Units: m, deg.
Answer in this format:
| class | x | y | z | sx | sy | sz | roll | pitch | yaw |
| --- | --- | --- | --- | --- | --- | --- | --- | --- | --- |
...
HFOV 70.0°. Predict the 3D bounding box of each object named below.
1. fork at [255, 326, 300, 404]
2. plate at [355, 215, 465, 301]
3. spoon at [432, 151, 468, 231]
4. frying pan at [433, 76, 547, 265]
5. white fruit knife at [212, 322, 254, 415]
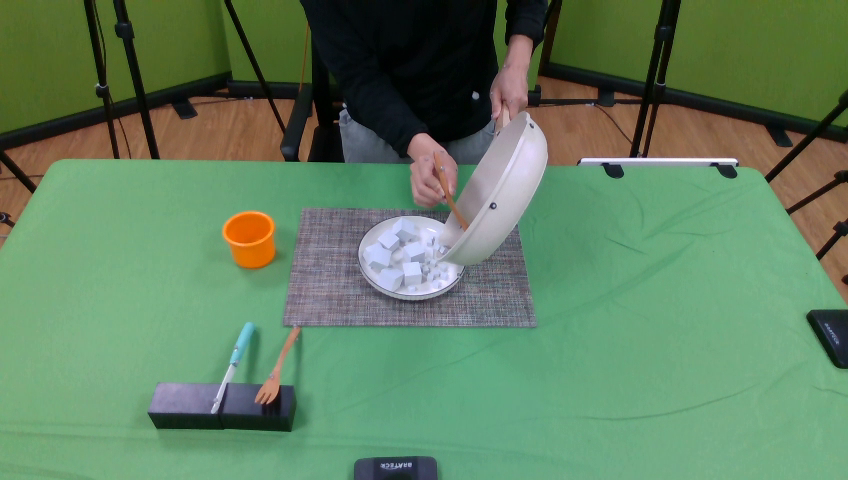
| class | x | y | z | sx | sy | sz | roll | pitch | yaw |
| --- | --- | --- | --- | --- | --- | --- | --- | --- | --- |
| fork | -0.226 | 0.192 | 0.955 | 0.028 | 0.019 | 0.206 | -3 | 27 | 5 |
| plate | -0.025 | 0.038 | 1.143 | 0.208 | 0.039 | 0.206 | 3 | 46 | -2 |
| spoon | 0.048 | -0.060 | 1.015 | 0.021 | 0.194 | 0.041 | -18 | 24 | 19 |
| frying pan | 0.132 | -0.156 | 1.097 | 0.103 | 0.307 | 0.485 | 24 | 48 | -14 |
| white fruit knife | -0.297 | 0.193 | 0.947 | 0.016 | 0.027 | 0.206 | 1 | 31 | 0 |
